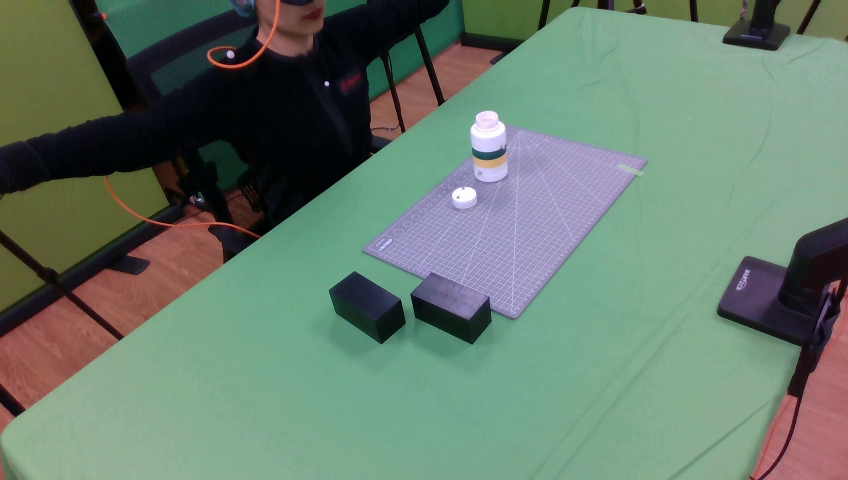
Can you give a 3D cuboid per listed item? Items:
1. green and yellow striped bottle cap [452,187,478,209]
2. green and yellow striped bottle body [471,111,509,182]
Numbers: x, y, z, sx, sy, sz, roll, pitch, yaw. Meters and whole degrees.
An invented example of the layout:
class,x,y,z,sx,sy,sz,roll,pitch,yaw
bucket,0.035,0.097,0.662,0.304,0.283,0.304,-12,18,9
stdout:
class,x,y,z,sx,sy,sz,roll,pitch,yaw
green and yellow striped bottle cap,0.072,-0.074,1.057,0.045,0.020,0.045,-6,39,6
green and yellow striped bottle body,0.117,-0.169,1.079,0.063,0.120,0.063,-6,40,5
